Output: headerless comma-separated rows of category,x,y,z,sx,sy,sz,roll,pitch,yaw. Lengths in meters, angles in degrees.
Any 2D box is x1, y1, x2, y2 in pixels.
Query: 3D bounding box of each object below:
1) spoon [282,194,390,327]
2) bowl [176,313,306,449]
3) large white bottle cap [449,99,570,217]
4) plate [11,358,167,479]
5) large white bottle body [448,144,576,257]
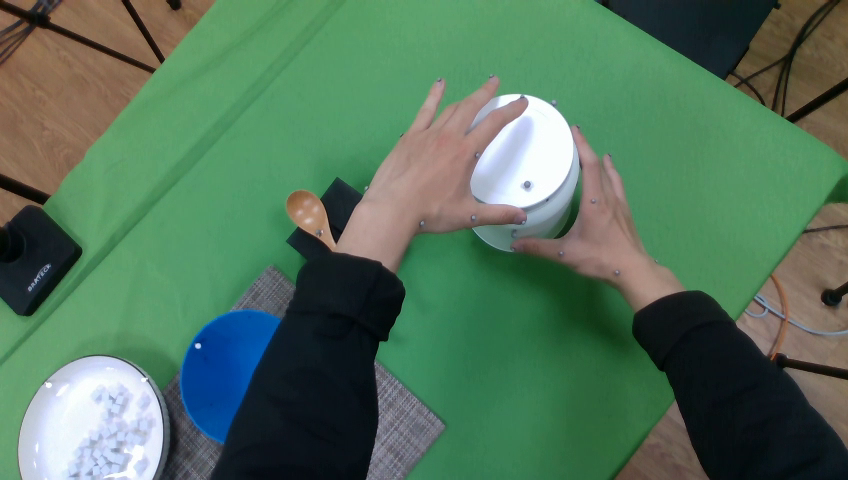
spoon,-0.102,0.025,0.712,0.041,0.022,0.193,-37,80,-5
bowl,-0.202,0.164,0.715,0.151,0.077,0.150,-2,79,9
large white bottle cap,0.081,-0.079,0.576,0.114,0.018,0.114,-2,77,9
plate,-0.409,0.252,0.753,0.209,0.038,0.208,-3,76,11
large white bottle body,0.095,-0.060,0.659,0.130,0.185,0.130,-2,78,9
